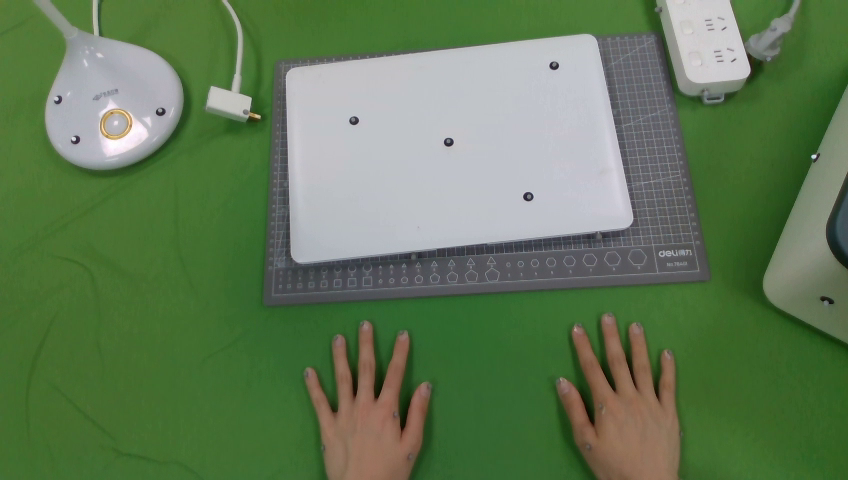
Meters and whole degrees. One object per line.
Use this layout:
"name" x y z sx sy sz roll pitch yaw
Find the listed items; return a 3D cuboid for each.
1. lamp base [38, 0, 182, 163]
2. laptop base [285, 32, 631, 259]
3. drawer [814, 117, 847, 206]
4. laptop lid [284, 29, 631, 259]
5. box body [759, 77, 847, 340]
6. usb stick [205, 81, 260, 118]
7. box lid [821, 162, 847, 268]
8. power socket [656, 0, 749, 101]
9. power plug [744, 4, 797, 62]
"lamp base" -0.370 -0.197 0.629 0.160 0.181 0.178 -31 69 -7
"laptop base" 0.027 -0.106 0.659 0.354 0.023 0.234 -6 74 1
"drawer" 0.520 -0.102 0.576 0.193 0.074 0.211 27 80 16
"laptop lid" 0.026 -0.108 0.647 0.357 0.013 0.240 -5 73 2
"box body" 0.500 -0.059 0.537 0.253 0.161 0.363 29 75 12
"usb stick" -0.213 -0.155 0.679 0.059 0.021 0.027 17 74 -26
"box lid" 0.496 -0.085 0.468 0.262 0.015 0.370 28 76 13
"power socket" 0.307 -0.264 0.689 0.072 0.033 0.225 -5 70 1
"power plug" 0.384 -0.222 0.666 0.073 0.053 0.035 -23 66 -23
